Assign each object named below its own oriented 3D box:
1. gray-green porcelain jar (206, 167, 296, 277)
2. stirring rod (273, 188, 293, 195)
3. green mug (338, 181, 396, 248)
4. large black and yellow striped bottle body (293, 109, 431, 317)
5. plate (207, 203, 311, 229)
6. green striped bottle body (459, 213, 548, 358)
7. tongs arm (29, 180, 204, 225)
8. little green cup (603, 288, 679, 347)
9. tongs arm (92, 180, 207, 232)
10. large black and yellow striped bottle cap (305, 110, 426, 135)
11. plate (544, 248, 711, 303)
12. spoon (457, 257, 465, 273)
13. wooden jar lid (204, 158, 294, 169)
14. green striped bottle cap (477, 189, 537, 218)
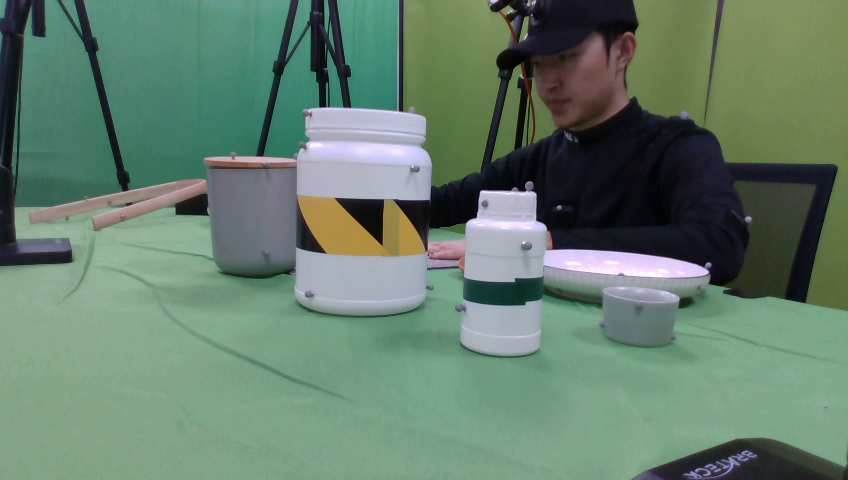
[{"bbox_3d":[-0.201,-0.024,0.724,0.106,0.126,0.106,-1,9,1],"label":"gray-green porcelain jar"},{"bbox_3d":[-0.353,-0.122,1.518,0.006,0.014,0.176,1,7,2],"label":"stirring rod"},{"bbox_3d":[-0.098,-0.044,0.995,0.093,0.105,0.125,-1,8,-21],"label":"green mug"},{"bbox_3d":[-0.060,-0.028,0.584,0.131,0.184,0.130,2,7,0],"label":"large black and yellow striped bottle body"},{"bbox_3d":[-0.342,-0.050,1.259,0.208,0.039,0.207,3,7,0],"label":"plate"},{"bbox_3d":[0.061,0.024,0.460,0.063,0.119,0.063,2,7,0],"label":"green striped bottle body"},{"bbox_3d":[-0.609,-0.083,1.245,0.050,0.026,0.386,5,16,23],"label":"tongs arm"},{"bbox_3d":[0.180,0.064,0.505,0.061,0.038,0.061,2,7,0],"label":"little green cup"},{"bbox_3d":[-0.534,-0.076,1.221,0.028,0.028,0.388,-2,15,12],"label":"tongs arm"},{"bbox_3d":[-0.055,-0.110,0.574,0.115,0.019,0.115,1,7,0],"label":"large black and yellow striped bottle cap"},{"bbox_3d":[0.219,0.041,0.706,0.209,0.038,0.209,2,7,0],"label":"plate"},{"bbox_3d":[0.059,0.044,0.696,0.041,0.021,0.193,20,7,0],"label":"spoon"},{"bbox_3d":[-0.202,-0.086,0.714,0.108,0.020,0.108,3,11,0],"label":"wooden jar lid"},{"bbox_3d":[0.062,-0.027,0.453,0.044,0.020,0.044,2,5,0],"label":"green striped bottle cap"}]
